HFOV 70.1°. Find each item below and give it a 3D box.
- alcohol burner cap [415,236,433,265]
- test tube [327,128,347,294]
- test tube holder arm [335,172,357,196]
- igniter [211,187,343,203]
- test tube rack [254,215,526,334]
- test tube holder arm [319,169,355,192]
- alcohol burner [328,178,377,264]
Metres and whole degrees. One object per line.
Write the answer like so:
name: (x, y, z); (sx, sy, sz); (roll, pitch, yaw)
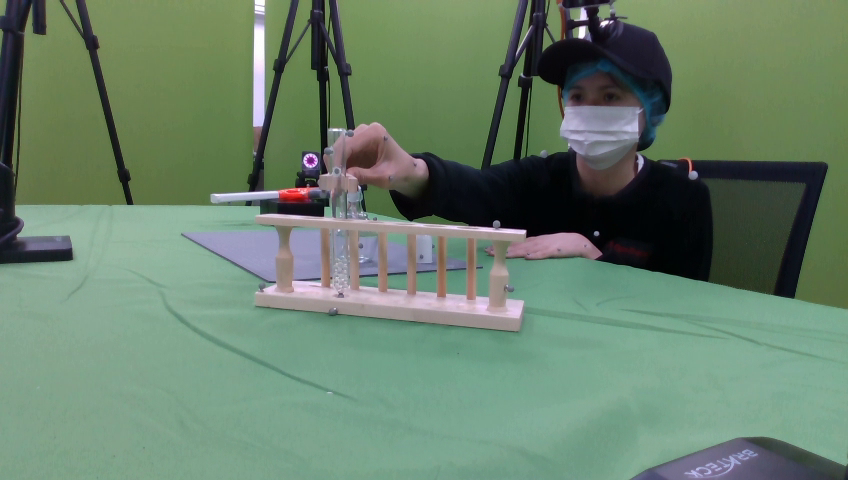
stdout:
alcohol burner cap: (-0.003, 0.011, 0.835); (0.034, 0.048, 0.034); (2, 6, 0)
test tube: (-0.078, -0.025, 0.545); (0.017, 0.150, 0.017); (0, 9, 0)
test tube holder arm: (-0.078, -0.055, 0.588); (0.010, 0.015, 0.087); (8, 10, -19)
igniter: (-0.299, -0.094, 1.266); (0.278, 0.025, 0.057); (-6, 12, -34)
test tube rack: (-0.030, 0.025, 0.557); (0.242, 0.085, 0.067); (4, 7, 12)
test tube holder arm: (-0.088, -0.064, 0.630); (0.013, 0.015, 0.178); (12, 9, -2)
alcohol burner: (-0.098, -0.028, 0.819); (0.078, 0.119, 0.078); (1, 8, 0)
